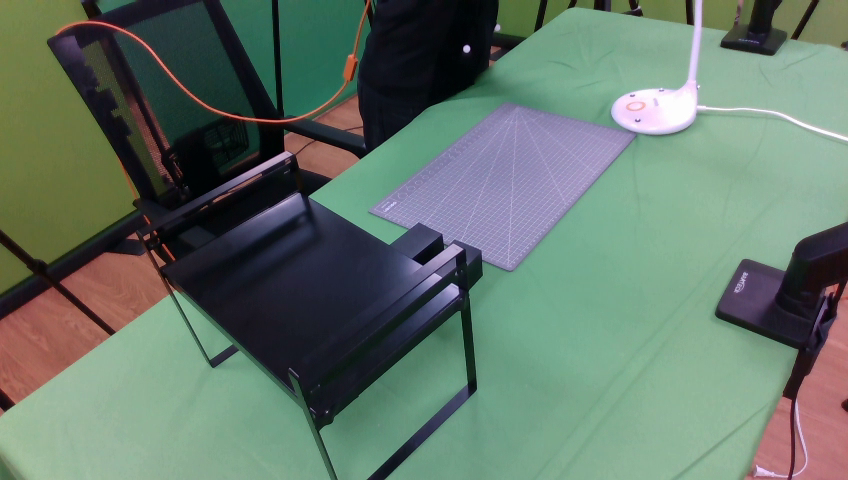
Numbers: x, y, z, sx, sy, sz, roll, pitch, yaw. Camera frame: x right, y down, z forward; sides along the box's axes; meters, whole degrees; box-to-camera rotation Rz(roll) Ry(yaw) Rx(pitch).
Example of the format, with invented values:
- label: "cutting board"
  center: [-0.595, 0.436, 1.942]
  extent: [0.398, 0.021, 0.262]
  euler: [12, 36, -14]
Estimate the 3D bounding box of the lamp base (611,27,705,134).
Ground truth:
- label: "lamp base"
  center: [0.459, -0.316, 1.154]
  extent: [0.179, 0.181, 0.159]
  euler: [-5, 41, -1]
